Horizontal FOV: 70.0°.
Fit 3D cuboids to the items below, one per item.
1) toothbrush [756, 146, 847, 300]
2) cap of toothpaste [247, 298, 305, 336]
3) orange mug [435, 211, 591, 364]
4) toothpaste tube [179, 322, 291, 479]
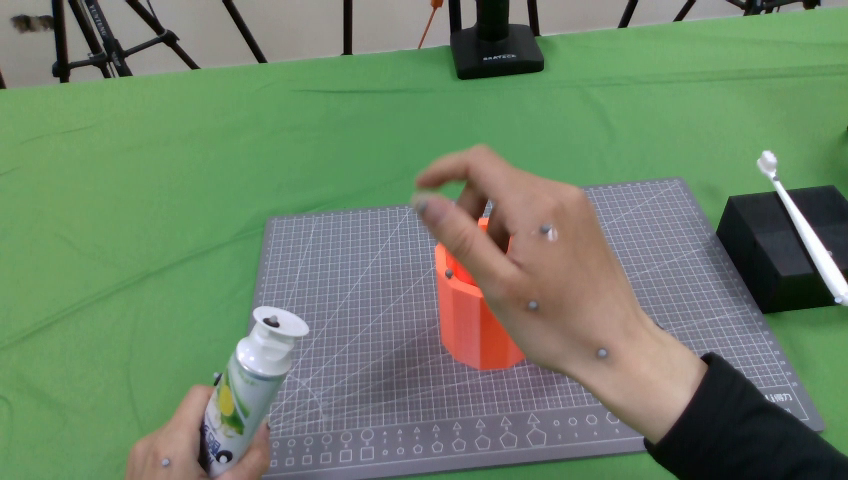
[{"bbox_3d":[0.326,-0.022,0.524,0.014,0.017,0.180,1,46,1],"label":"toothbrush"},{"bbox_3d":[-0.090,0.047,0.366,0.037,0.011,0.037,23,9,-4],"label":"cap of toothpaste"},{"bbox_3d":[0.069,0.044,0.489,0.125,0.102,0.083,15,49,25],"label":"orange mug"},{"bbox_3d":[-0.127,0.114,0.396,0.035,0.165,0.054,8,29,-43],"label":"toothpaste tube"}]
